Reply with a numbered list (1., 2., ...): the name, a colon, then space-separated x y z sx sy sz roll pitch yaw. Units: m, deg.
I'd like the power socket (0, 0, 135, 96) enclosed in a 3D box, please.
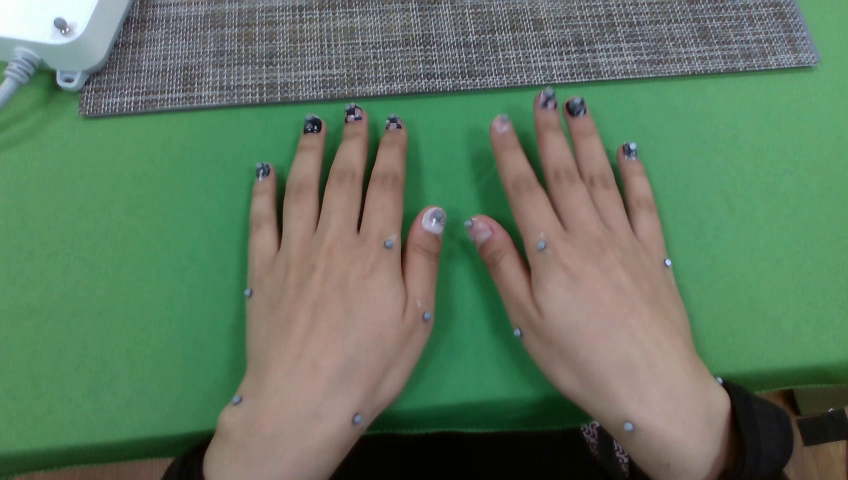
1. power socket: -0.208 -0.196 0.381 0.072 0.033 0.225 9 68 2
